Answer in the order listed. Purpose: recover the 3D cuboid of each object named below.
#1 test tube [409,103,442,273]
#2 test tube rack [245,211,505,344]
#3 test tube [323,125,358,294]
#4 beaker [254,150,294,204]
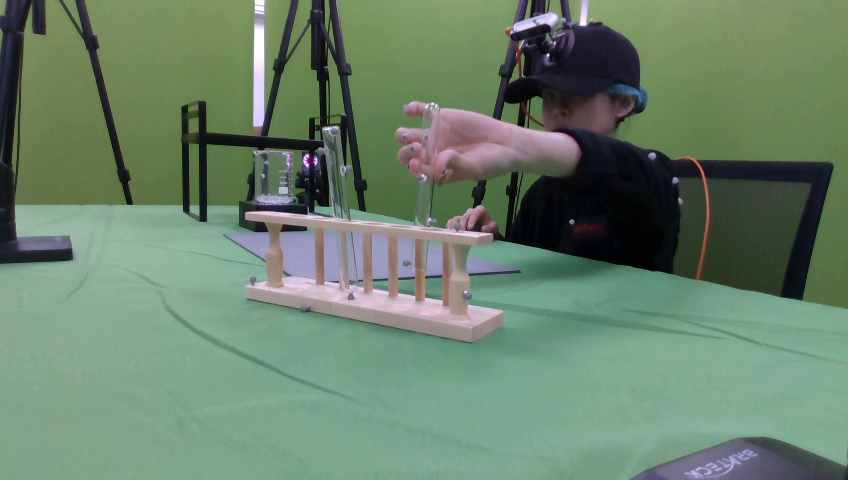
[{"bbox_3d":[0.002,-0.045,0.534,0.017,0.150,0.017,5,6,0],"label":"test tube"},{"bbox_3d":[-0.049,0.024,0.547,0.241,0.085,0.067,7,8,29],"label":"test tube rack"},{"bbox_3d":[-0.073,-0.026,0.533,0.017,0.150,0.017,-5,9,1],"label":"test tube"},{"bbox_3d":[-0.289,-0.120,1.151,0.073,0.100,0.084,8,9,33],"label":"beaker"}]
